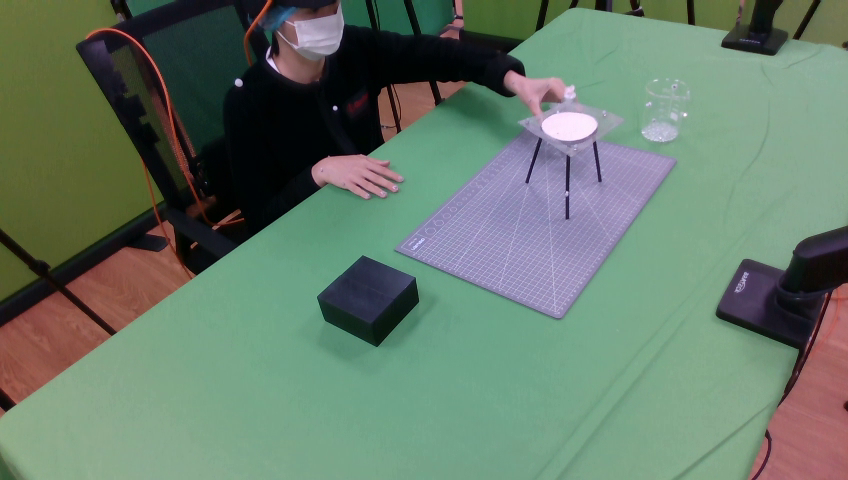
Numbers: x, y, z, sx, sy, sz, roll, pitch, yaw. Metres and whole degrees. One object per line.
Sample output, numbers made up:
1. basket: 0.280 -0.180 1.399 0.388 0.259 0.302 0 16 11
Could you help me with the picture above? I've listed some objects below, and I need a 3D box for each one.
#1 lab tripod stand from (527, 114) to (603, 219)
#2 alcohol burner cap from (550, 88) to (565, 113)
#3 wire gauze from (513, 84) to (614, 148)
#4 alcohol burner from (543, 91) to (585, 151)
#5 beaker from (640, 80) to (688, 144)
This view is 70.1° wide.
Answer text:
1. lab tripod stand: 0.234 -0.129 1.002 0.148 0.132 0.147 -6 40 6
2. alcohol burner cap: 0.281 -0.296 1.271 0.034 0.048 0.033 -5 41 5
3. wire gauze: 0.220 -0.194 0.951 0.120 0.011 0.125 23 56 25
4. alcohol burner: 0.257 -0.221 1.101 0.078 0.119 0.077 -1 49 2
5. beaker: 0.446 -0.235 1.126 0.074 0.101 0.083 -34 47 -27
